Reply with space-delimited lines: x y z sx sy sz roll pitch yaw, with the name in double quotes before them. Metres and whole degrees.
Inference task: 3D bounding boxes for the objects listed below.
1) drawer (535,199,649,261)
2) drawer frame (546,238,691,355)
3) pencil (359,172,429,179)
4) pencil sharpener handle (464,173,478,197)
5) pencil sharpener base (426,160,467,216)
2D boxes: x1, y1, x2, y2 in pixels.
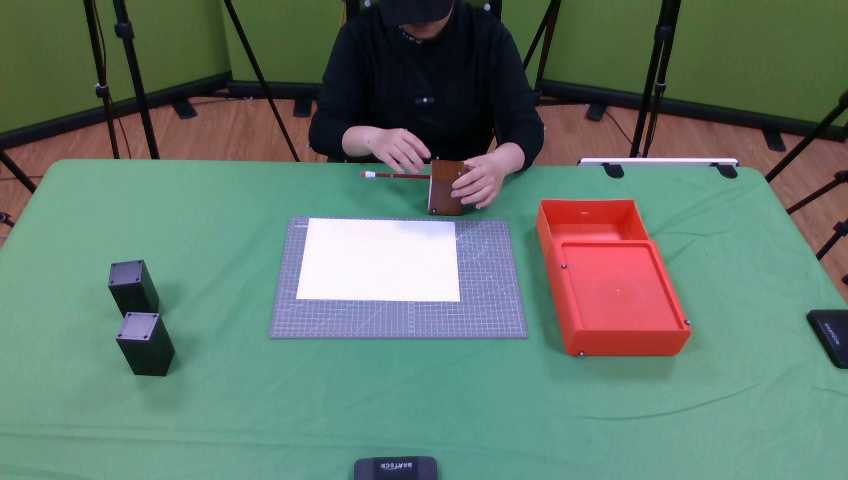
"drawer" 0.332 0.015 1.169 0.195 0.073 0.210 0 46 -5
"drawer frame" 0.338 0.097 1.086 0.202 0.083 0.212 0 46 -4
"pencil" -0.034 -0.129 1.223 0.194 0.012 0.012 2 45 -2
"pencil sharpener handle" 0.098 -0.113 1.240 0.030 0.068 0.036 3 53 -2
"pencil sharpener base" 0.046 -0.105 1.245 0.077 0.107 0.061 3 45 -2
